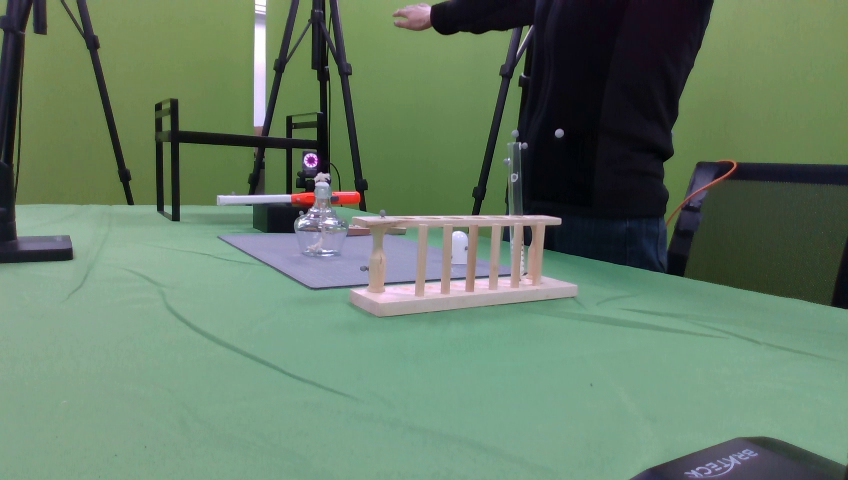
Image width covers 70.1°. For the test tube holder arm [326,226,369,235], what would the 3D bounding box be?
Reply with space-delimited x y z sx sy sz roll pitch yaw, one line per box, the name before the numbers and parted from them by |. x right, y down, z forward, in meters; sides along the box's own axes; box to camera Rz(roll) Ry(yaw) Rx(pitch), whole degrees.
test tube holder arm | -0.136 -0.017 1.085 0.088 0.015 0.010 0 30 -42

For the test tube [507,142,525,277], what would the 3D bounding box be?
test tube | 0.101 -0.032 0.664 0.017 0.150 0.017 -3 9 1

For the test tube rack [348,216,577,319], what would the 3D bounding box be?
test tube rack | 0.048 0.021 0.619 0.244 0.085 0.066 -2 9 -31

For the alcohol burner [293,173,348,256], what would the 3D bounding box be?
alcohol burner | -0.147 -0.036 0.859 0.078 0.119 0.078 4 8 0

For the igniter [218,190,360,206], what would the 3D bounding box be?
igniter | -0.248 -0.080 1.150 0.278 0.025 0.057 -5 7 -29

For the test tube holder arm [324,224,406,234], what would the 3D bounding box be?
test tube holder arm | -0.105 -0.020 1.120 0.179 0.015 0.013 0 30 -43

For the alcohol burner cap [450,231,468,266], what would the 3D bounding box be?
alcohol burner cap | 0.046 0.011 0.838 0.034 0.048 0.034 2 6 0
